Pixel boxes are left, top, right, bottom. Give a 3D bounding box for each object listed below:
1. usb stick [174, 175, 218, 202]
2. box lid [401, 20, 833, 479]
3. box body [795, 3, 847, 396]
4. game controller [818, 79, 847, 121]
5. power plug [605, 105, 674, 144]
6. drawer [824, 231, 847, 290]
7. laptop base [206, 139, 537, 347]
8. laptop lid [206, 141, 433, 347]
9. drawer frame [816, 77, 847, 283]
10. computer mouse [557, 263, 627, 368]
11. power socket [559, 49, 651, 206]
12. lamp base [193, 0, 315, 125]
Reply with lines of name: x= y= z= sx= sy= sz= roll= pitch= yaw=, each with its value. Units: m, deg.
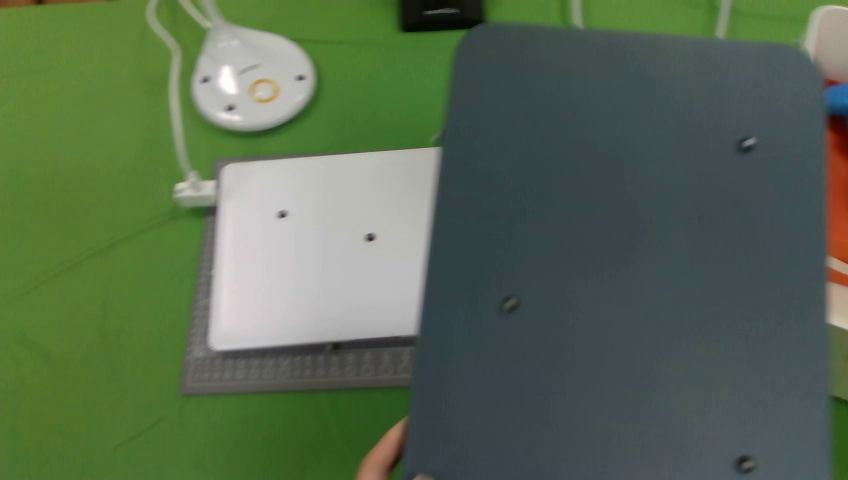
usb stick: x=-0.260 y=-0.061 z=0.714 sx=0.059 sy=0.027 sz=0.021 roll=-1 pitch=59 yaw=-1
box lid: x=0.128 y=0.028 z=0.398 sx=0.263 sy=0.015 sz=0.370 roll=5 pitch=78 yaw=2
box body: x=0.459 y=-0.027 z=0.600 sx=0.253 sy=0.161 sz=0.362 roll=19 pitch=66 yaw=12
game controller: x=0.475 y=-0.109 z=0.622 sx=0.097 sy=0.052 sz=0.154 roll=-2 pitch=63 yaw=-3
power plug: x=0.250 y=-0.132 z=0.709 sx=0.072 sy=0.053 sz=0.035 roll=5 pitch=63 yaw=4
drawer: x=0.468 y=-0.046 z=0.667 sx=0.194 sy=0.074 sz=0.210 roll=18 pitch=55 yaw=12
laptop base: x=-0.062 y=-0.002 z=0.691 sx=0.354 sy=0.023 sz=0.233 roll=-5 pitch=67 yaw=0
laptop lid: x=-0.063 y=-0.006 z=0.679 sx=0.357 sy=0.013 sz=0.239 roll=-3 pitch=66 yaw=1
drawer frame: x=0.466 y=-0.060 z=0.653 sx=0.201 sy=0.083 sz=0.212 roll=19 pitch=60 yaw=10
computer mouse: x=0.174 y=0.075 z=0.629 sx=0.063 sy=0.041 sz=0.116 roll=0 pitch=59 yaw=4
power socket: x=0.219 y=-0.147 z=0.744 sx=0.072 sy=0.033 sz=0.224 roll=-4 pitch=63 yaw=-1
lamp base: x=-0.236 y=-0.260 z=0.738 sx=0.160 sy=0.182 sz=0.177 roll=-39 pitch=65 yaw=-16
